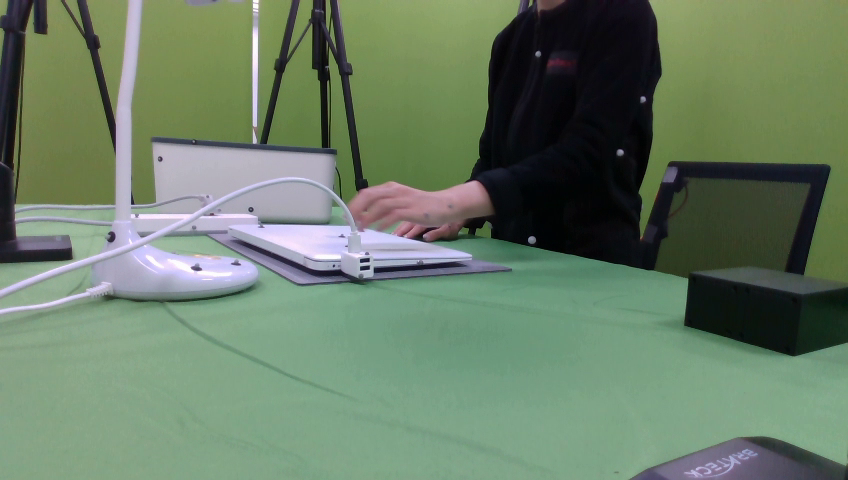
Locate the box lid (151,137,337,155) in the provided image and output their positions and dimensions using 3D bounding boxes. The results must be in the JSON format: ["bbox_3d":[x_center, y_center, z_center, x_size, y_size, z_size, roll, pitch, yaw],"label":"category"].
[{"bbox_3d":[-0.379,-0.203,1.334,0.372,0.015,0.262,2,7,-9],"label":"box lid"}]

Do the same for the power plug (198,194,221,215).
[{"bbox_3d":[-0.386,-0.055,1.088,0.035,0.052,0.072,-1,7,-23],"label":"power plug"}]

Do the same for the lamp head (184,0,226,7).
[{"bbox_3d":[-0.229,-0.320,0.627,0.112,0.112,0.123,6,-36,26],"label":"lamp head"}]

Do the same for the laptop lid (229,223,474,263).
[{"bbox_3d":[-0.121,0.000,0.888,0.243,0.013,0.355,1,7,-33],"label":"laptop lid"}]

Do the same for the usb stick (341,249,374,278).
[{"bbox_3d":[-0.079,0.026,0.686,0.021,0.027,0.059,-6,8,-31],"label":"usb stick"}]

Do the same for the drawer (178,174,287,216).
[{"bbox_3d":[-0.414,-0.104,1.342,0.212,0.073,0.194,5,7,-11],"label":"drawer"}]

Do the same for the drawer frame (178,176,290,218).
[{"bbox_3d":[-0.409,-0.100,1.340,0.214,0.082,0.201,-4,7,-10],"label":"drawer frame"}]

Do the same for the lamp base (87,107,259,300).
[{"bbox_3d":[-0.254,-0.039,0.603,0.160,0.180,0.179,5,10,18],"label":"lamp base"}]

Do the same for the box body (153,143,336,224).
[{"bbox_3d":[-0.380,-0.130,1.344,0.365,0.160,0.253,1,7,-9],"label":"box body"}]

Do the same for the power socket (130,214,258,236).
[{"bbox_3d":[-0.397,-0.028,1.048,0.228,0.032,0.072,-3,7,-35],"label":"power socket"}]

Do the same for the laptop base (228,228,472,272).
[{"bbox_3d":[-0.124,0.012,0.889,0.237,0.023,0.352,1,7,-35],"label":"laptop base"}]

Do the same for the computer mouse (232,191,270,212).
[{"bbox_3d":[-0.382,-0.086,1.343,0.063,0.041,0.117,9,10,-4],"label":"computer mouse"}]
